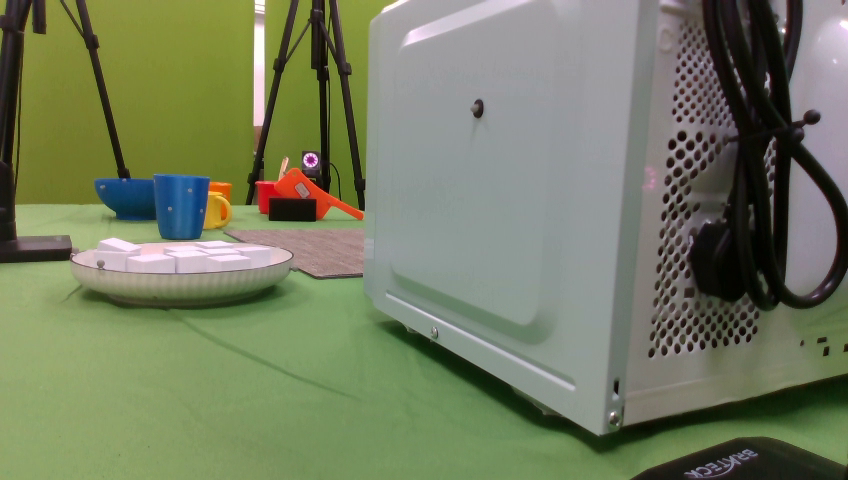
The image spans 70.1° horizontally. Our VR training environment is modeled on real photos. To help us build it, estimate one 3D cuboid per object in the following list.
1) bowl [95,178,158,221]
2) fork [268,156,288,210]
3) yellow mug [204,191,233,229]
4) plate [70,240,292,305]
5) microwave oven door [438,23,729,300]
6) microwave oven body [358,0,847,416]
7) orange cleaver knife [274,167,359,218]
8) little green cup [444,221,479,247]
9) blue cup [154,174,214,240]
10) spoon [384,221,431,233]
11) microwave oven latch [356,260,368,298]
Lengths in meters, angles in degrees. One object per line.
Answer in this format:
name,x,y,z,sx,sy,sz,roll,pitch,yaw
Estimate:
bowl,-0.576,-0.081,1.217,0.151,0.077,0.151,3,8,0
fork,-0.360,-0.144,1.508,0.028,0.018,0.207,1,49,0
yellow mug,-0.415,-0.057,1.132,0.130,0.064,0.100,6,8,16
plate,-0.242,0.031,0.618,0.208,0.039,0.207,2,8,0
microwave oven door,0.181,-0.072,0.620,0.358,0.243,0.039,-2,8,-29
microwave oven body,0.211,-0.047,0.474,0.444,0.260,0.324,-1,8,-28
orange cleaver knife,-0.238,-0.091,1.381,0.212,0.077,0.012,31,0,-19
little green cup,0.064,-0.011,1.034,0.061,0.038,0.061,1,9,0
blue cup,-0.391,-0.053,0.978,0.093,0.100,0.092,4,6,0
spoon,-0.024,-0.029,1.188,0.041,0.021,0.194,-13,0,23
microwave oven latch,-0.019,0.033,0.529,0.079,0.029,0.030,0,7,-24
